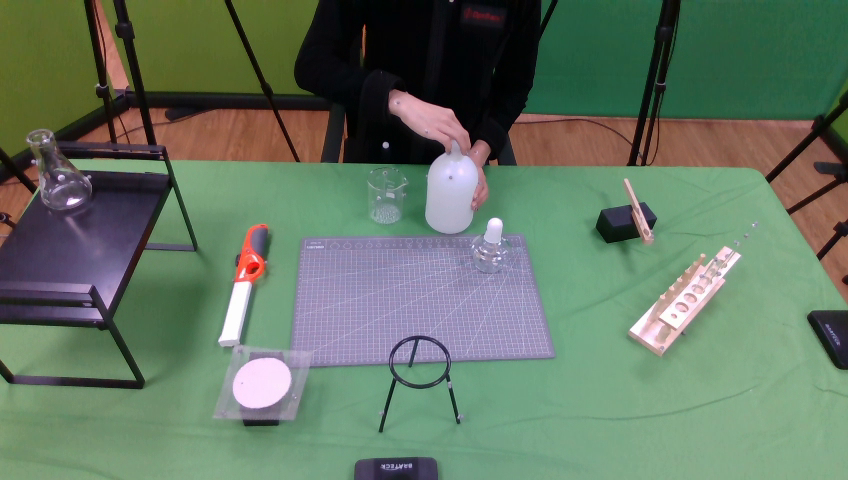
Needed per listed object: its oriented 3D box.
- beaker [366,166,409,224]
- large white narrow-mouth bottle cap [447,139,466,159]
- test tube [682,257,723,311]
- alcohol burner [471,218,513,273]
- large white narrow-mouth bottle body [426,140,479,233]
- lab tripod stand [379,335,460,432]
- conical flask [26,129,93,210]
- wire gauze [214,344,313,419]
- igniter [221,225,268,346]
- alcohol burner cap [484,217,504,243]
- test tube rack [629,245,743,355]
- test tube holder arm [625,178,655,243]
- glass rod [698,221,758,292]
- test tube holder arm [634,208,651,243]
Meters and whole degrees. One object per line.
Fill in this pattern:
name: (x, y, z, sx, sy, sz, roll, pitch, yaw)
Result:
beaker: (-0.074, -0.088, 1.222, 0.084, 0.101, 0.073, 4, 46, -1)
large white narrow-mouth bottle cap: (0.061, -0.169, 1.124, 0.038, 0.024, 0.037, 2, 46, -2)
test tube: (0.475, 0.080, 1.037, 0.017, 0.151, 0.017, 1, 50, -1)
alcohol burner: (0.128, 0.005, 1.132, 0.078, 0.120, 0.077, 0, 47, 0)
large white narrow-mouth bottle body: (0.057, -0.111, 1.187, 0.102, 0.195, 0.101, 2, 46, -2)
lab tripod stand: (-0.011, 0.214, 0.911, 0.148, 0.132, 0.147, 1, 45, 0)
conical flask: (-0.575, -0.113, 0.946, 0.075, 0.122, 0.075, 2, 46, -2)
wire gauze: (-0.241, 0.213, 0.915, 0.121, 0.011, 0.124, 5, 46, 1)
igniter: (-0.323, 0.072, 1.100, 0.057, 0.025, 0.274, -6, 45, 5)
alcohol burner cap: (0.130, -0.021, 1.107, 0.034, 0.048, 0.033, 4, 41, -3)
test tube rack: (0.474, 0.095, 1.091, 0.242, 0.085, 0.066, -34, 56, -31)
test tube holder arm: (0.433, -0.062, 1.220, 0.013, 0.015, 0.177, 1, 47, -3)
glass rod: (0.528, 0.035, 1.060, 0.008, 0.200, 0.008, 5, 49, -6)
test tube holder arm: (0.428, -0.030, 1.189, 0.010, 0.015, 0.087, 1, 47, -2)
